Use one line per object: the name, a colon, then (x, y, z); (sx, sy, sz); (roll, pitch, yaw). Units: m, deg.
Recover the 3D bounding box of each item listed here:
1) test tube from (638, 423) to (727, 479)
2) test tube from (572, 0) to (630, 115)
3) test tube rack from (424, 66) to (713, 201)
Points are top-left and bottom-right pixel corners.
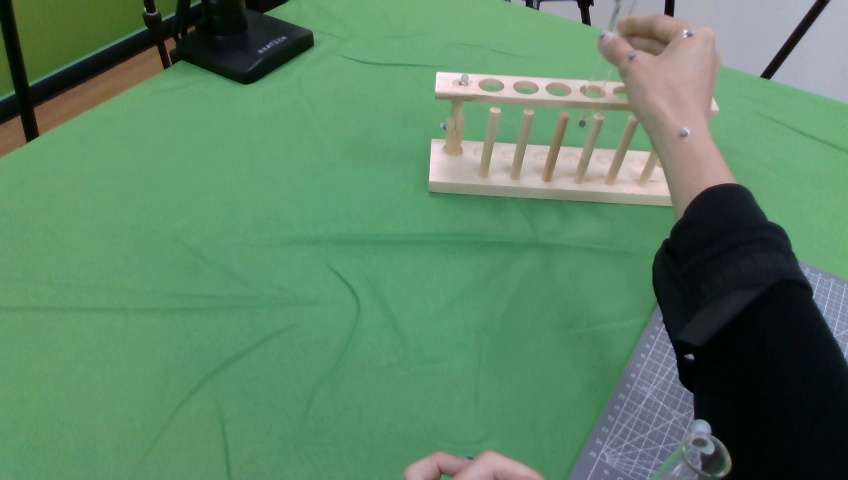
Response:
test tube: (0.078, 0.116, 0.238); (0.017, 0.151, 0.017); (5, 44, -5)
test tube: (0.147, -0.165, 0.488); (0.017, 0.151, 0.017); (5, 47, -5)
test tube rack: (0.124, -0.094, 0.543); (0.242, 0.086, 0.066); (3, 46, -1)
